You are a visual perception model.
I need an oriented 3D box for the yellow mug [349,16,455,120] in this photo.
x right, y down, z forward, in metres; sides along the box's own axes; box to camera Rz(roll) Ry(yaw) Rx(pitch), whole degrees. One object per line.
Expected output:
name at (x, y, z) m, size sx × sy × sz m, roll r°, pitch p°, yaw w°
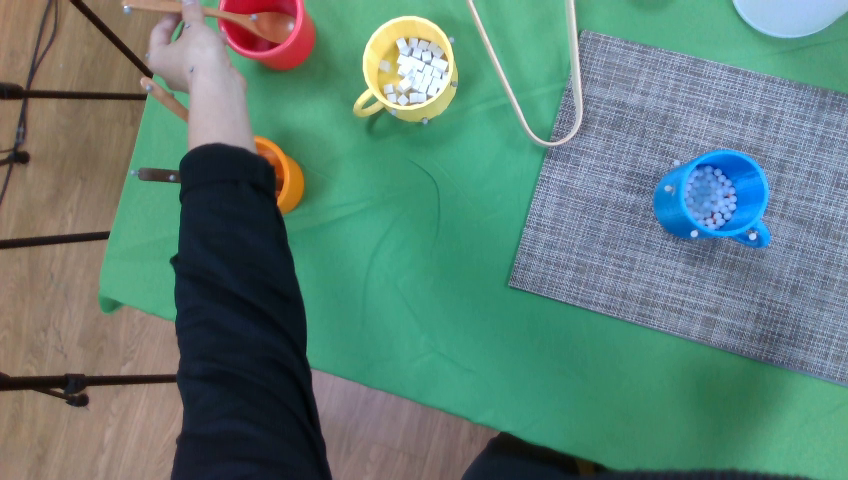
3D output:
yellow mug at (-0.030, -0.182, 0.684) m, size 0.131 × 0.064 × 0.100 m, roll -36°, pitch 87°, yaw 7°

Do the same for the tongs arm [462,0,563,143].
tongs arm at (0.059, -0.281, 0.667) m, size 0.051 × 0.026 × 0.385 m, roll -23°, pitch 95°, yaw 3°

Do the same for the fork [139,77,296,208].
fork at (-0.221, -0.102, 0.664) m, size 0.028 × 0.018 × 0.209 m, roll -44°, pitch 128°, yaw 3°

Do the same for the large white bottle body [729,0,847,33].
large white bottle body at (0.382, -0.290, 0.574) m, size 0.130 × 0.185 × 0.130 m, roll 0°, pitch 90°, yaw 7°

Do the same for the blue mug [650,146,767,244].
blue mug at (0.299, -0.036, 0.622) m, size 0.116 × 0.106 × 0.082 m, roll 42°, pitch 94°, yaw 5°

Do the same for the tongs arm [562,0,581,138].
tongs arm at (0.139, -0.306, 0.660) m, size 0.028 × 0.027 × 0.388 m, roll -9°, pitch 96°, yaw -1°

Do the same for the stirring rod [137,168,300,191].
stirring rod at (-0.221, -0.066, 0.671) m, size 0.177 × 0.006 × 0.014 m, roll 1°, pitch 83°, yaw -35°

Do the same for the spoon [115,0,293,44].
spoon at (-0.229, -0.242, 0.654) m, size 0.021 × 0.195 × 0.041 m, roll -17°, pitch 83°, yaw 44°
